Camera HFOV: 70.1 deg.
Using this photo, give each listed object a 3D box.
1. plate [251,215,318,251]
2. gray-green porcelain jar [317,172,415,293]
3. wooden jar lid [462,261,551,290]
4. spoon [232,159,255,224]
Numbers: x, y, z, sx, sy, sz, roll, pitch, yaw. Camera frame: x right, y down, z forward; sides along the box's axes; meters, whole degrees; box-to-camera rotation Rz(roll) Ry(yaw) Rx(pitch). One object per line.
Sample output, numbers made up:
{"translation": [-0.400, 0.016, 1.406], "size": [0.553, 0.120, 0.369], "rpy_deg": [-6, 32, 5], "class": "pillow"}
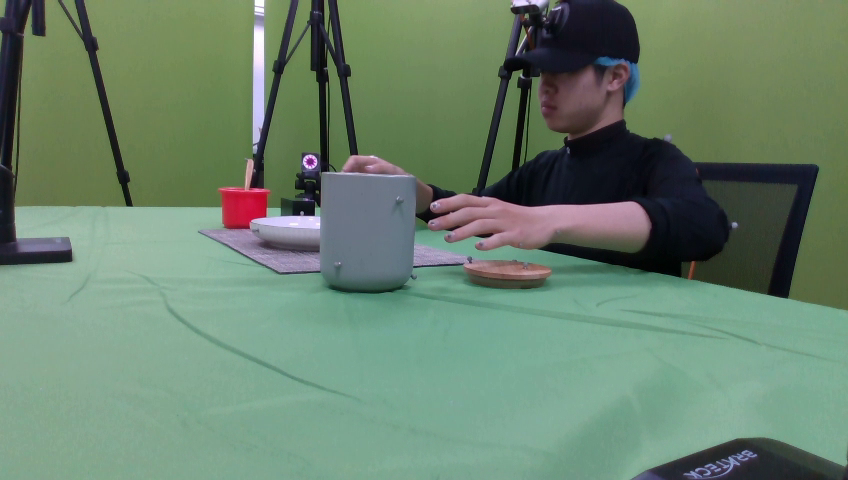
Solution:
{"translation": [-0.170, -0.012, 0.971], "size": [0.208, 0.039, 0.207], "rpy_deg": [2, 7, 0], "class": "plate"}
{"translation": [-0.065, -0.010, 0.671], "size": [0.106, 0.126, 0.106], "rpy_deg": [2, 7, 0], "class": "gray-green porcelain jar"}
{"translation": [0.100, 0.043, 0.742], "size": [0.108, 0.020, 0.108], "rpy_deg": [2, 6, 0], "class": "wooden jar lid"}
{"translation": [-0.356, -0.101, 1.218], "size": [0.042, 0.021, 0.193], "rpy_deg": [1, 51, -9], "class": "spoon"}
